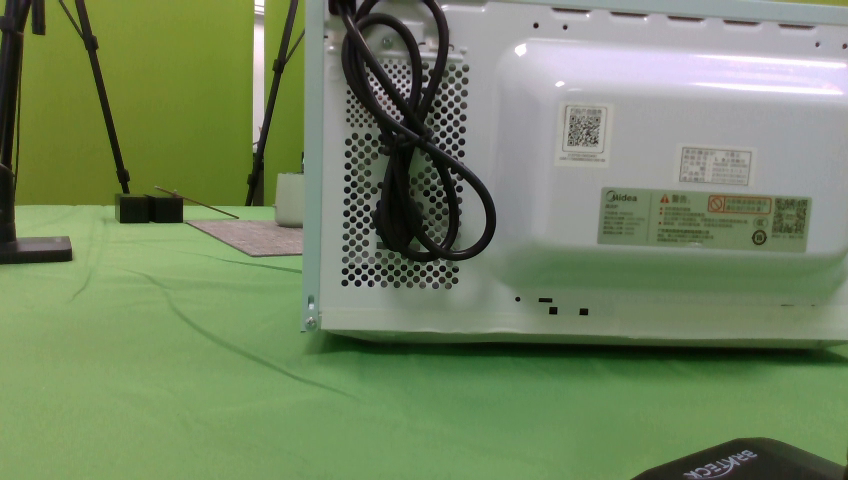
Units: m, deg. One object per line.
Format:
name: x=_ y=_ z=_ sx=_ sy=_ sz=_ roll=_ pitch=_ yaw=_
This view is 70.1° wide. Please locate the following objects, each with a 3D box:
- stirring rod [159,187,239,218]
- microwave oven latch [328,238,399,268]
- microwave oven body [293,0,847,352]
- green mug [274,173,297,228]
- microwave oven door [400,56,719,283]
stirring rod: x=-0.472 y=-0.077 z=1.278 sx=0.177 sy=0.006 sz=0.014 roll=23 pitch=-8 yaw=-38
microwave oven latch: x=-0.069 y=0.015 z=0.694 sx=0.079 sy=0.029 sz=0.030 roll=3 pitch=7 yaw=-3
microwave oven body: x=0.122 y=-0.055 z=0.550 sx=0.442 sy=0.260 sz=0.325 roll=3 pitch=7 yaw=-5
green mug: x=-0.242 y=-0.081 z=1.221 sx=0.092 sy=0.105 sz=0.126 roll=8 pitch=9 yaw=39
microwave oven door: x=0.155 y=-0.077 z=0.697 sx=0.356 sy=0.243 sz=0.039 roll=2 pitch=8 yaw=-5
